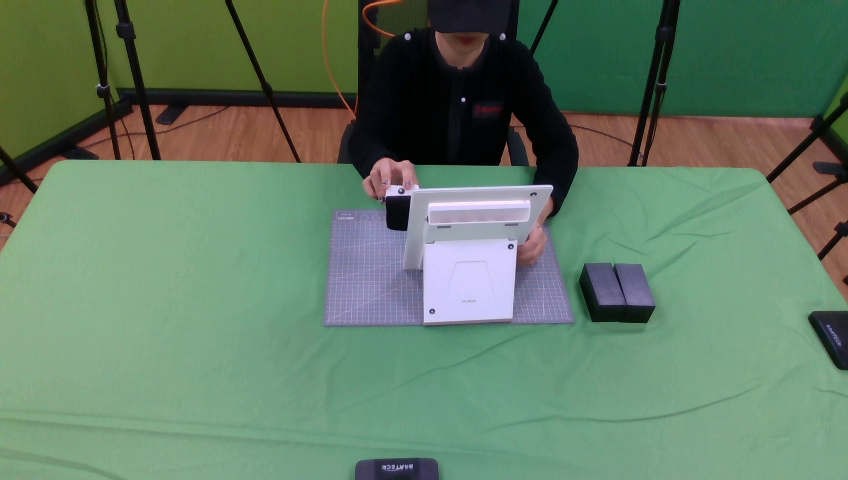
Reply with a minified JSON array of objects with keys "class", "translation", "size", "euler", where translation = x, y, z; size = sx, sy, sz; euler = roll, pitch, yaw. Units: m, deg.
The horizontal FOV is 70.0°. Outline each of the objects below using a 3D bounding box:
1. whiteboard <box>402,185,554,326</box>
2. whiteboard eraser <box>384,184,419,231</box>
[{"class":"whiteboard","translation":[0.081,0.044,1.005],"size":[0.217,0.306,0.143],"euler":[-1,66,-6]},{"class":"whiteboard eraser","translation":[-0.036,-0.049,0.982],"size":[0.055,0.113,0.041],"euler":[-4,67,-5]}]
